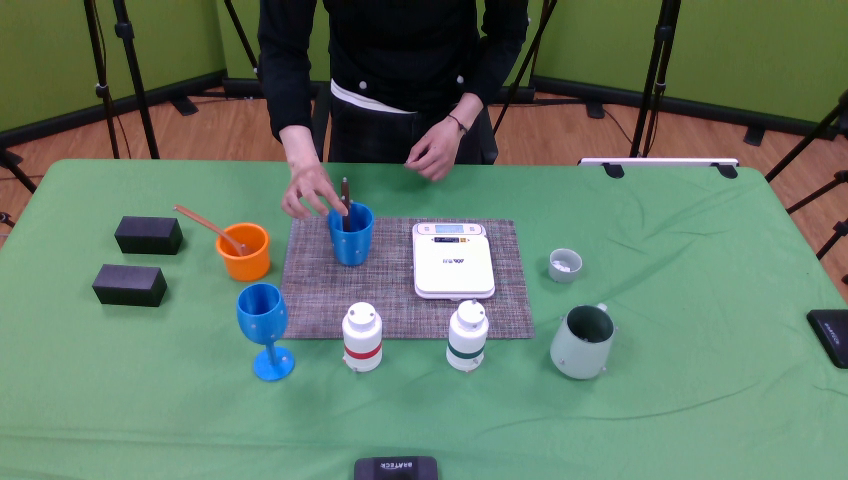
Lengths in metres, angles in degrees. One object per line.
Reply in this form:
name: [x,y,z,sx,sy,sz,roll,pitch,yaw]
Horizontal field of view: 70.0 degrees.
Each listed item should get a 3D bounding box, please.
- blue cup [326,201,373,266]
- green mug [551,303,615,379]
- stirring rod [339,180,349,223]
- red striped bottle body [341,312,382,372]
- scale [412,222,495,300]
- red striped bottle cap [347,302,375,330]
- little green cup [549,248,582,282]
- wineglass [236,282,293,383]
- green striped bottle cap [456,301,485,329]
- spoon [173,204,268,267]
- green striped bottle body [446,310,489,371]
blue cup: [-0.138,-0.006,1.131,0.093,0.101,0.092,3,45,-2]
green mug: [0.271,0.158,1.007,0.092,0.105,0.125,27,50,21]
stirring rod: [-0.140,-0.035,1.084,0.014,0.177,0.006,0,41,-4]
red striped bottle body: [-0.100,0.154,0.972,0.063,0.120,0.062,2,46,-1]
scale: [0.052,0.031,1.158,0.149,0.032,0.199,1,46,-4]
red striped bottle cap: [-0.097,0.116,0.934,0.044,0.018,0.044,2,48,-2]
little green cup: [0.268,0.050,1.156,0.061,0.039,0.061,1,46,-1]
wineglass: [-0.243,0.143,0.934,0.074,0.173,0.073,2,46,-2]
green striped bottle cap: [0.073,0.116,0.943,0.044,0.020,0.044,3,46,-3]
spoon: [-0.363,-0.008,1.089,0.021,0.195,0.041,-33,32,25]
green striped bottle body: [0.070,0.155,0.984,0.063,0.120,0.063,2,46,-2]
